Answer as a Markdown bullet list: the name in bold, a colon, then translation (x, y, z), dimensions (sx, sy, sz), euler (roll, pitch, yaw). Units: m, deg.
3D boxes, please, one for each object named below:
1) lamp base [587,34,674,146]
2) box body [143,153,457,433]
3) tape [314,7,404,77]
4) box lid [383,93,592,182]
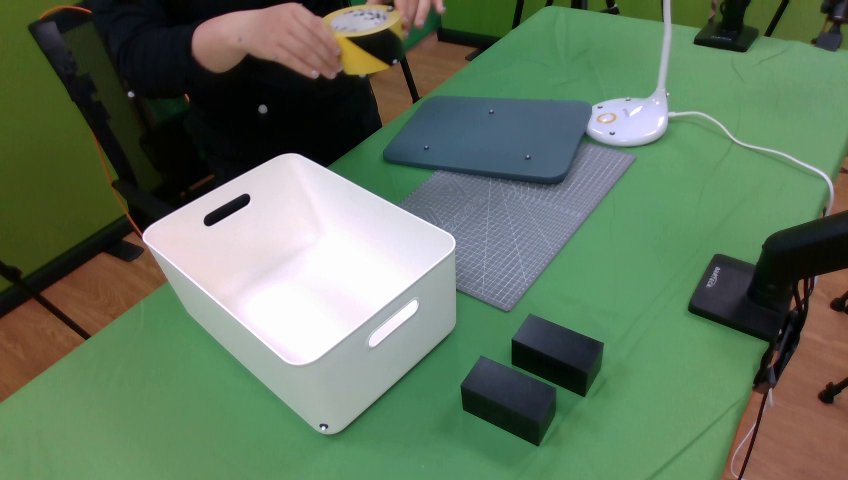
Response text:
- **lamp base**: translation (0.392, -0.291, 1.129), dimensions (0.180, 0.181, 0.159), euler (-11, 41, -8)
- **box body**: translation (-0.158, 0.054, 0.819), dimensions (0.361, 0.161, 0.255), euler (29, 52, 34)
- **tape**: translation (-0.086, -0.269, 0.817), dimensions (0.117, 0.053, 0.116), euler (-5, 41, 5)
- **box lid**: translation (0.128, -0.211, 1.193), dimensions (0.369, 0.015, 0.263), euler (9, 45, 22)
